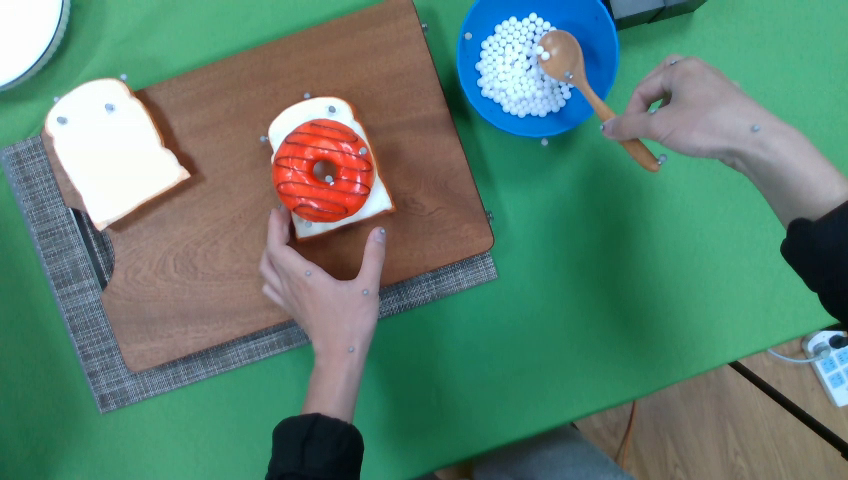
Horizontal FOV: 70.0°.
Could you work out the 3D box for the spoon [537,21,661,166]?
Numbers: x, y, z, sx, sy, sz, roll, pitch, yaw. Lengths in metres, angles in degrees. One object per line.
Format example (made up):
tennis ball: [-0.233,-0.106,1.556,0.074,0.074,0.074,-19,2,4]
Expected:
spoon: [0.149,-0.130,0.530,0.022,0.191,0.042,12,132,-35]

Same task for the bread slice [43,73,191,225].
bread slice: [-0.311,-0.095,0.601,0.107,0.018,0.134,-34,92,2]

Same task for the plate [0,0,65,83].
plate: [-0.462,-0.256,0.612,0.208,0.039,0.207,0,94,0]

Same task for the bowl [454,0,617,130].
bowl: [0.103,-0.178,0.592,0.151,0.077,0.151,0,94,0]

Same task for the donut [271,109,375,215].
donut: [-0.095,-0.072,0.572,0.099,0.048,0.099,0,95,0]

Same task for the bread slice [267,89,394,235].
bread slice: [-0.100,-0.081,0.602,0.105,0.019,0.131,-20,95,0]
